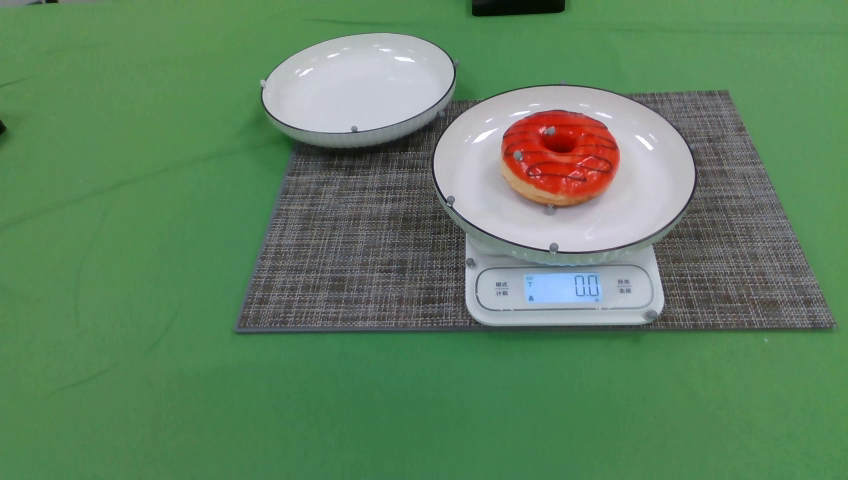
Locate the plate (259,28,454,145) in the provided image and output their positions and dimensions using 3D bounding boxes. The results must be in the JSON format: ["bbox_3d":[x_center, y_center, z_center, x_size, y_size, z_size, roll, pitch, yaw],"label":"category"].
[{"bbox_3d":[-0.071,-0.165,0.657,0.209,0.038,0.207,-3,46,4],"label":"plate"}]

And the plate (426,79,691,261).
[{"bbox_3d":[0.106,-0.059,0.500,0.207,0.039,0.205,-2,48,3],"label":"plate"}]

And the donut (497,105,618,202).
[{"bbox_3d":[0.108,-0.070,0.495,0.099,0.049,0.098,-1,49,1],"label":"donut"}]

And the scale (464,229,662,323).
[{"bbox_3d":[0.108,-0.020,0.509,0.148,0.032,0.199,-1,48,6],"label":"scale"}]
